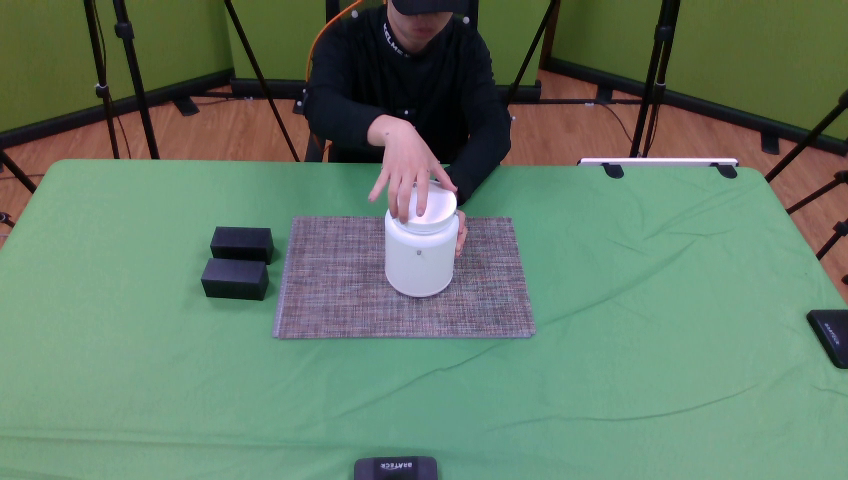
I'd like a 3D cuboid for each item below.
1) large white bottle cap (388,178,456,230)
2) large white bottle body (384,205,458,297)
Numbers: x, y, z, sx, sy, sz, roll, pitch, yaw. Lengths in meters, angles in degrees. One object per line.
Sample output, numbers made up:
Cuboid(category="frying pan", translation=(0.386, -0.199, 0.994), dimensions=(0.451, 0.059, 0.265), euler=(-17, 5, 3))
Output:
Cuboid(category="large white bottle cap", translation=(-0.003, -0.062, 1.021), dimensions=(0.115, 0.018, 0.114), euler=(2, 46, -2))
Cuboid(category="large white bottle body", translation=(-0.006, -0.002, 1.081), dimensions=(0.131, 0.185, 0.130), euler=(2, 46, -2))
